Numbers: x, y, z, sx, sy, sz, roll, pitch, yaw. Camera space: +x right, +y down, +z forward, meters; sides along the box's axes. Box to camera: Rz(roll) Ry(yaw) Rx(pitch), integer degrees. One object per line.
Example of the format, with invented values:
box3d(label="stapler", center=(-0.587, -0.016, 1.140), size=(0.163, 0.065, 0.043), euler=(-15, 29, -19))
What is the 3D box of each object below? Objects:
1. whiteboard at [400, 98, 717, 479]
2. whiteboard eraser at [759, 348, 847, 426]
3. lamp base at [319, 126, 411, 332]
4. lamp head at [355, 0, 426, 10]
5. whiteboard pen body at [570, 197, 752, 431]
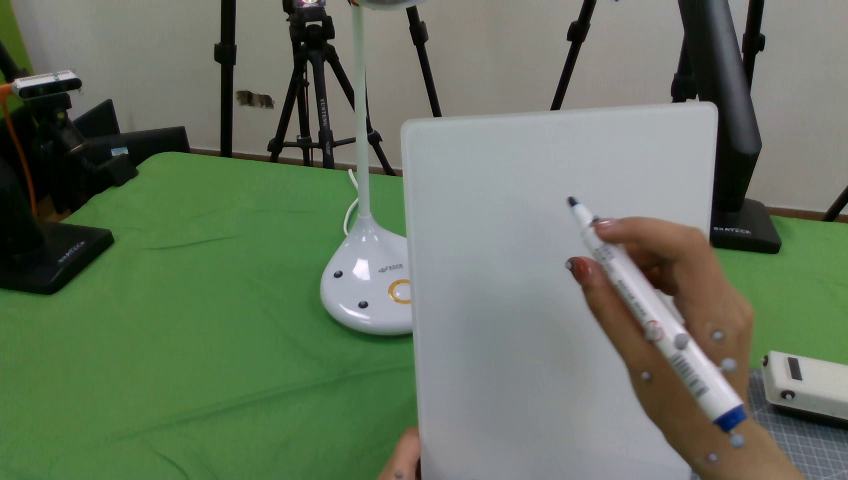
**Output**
box3d(label="whiteboard", center=(0.092, 0.044, 0.498), size=(0.217, 0.307, 0.143), euler=(-5, 15, -6))
box3d(label="whiteboard eraser", center=(0.366, 0.136, 0.543), size=(0.112, 0.042, 0.055), euler=(11, 37, 16))
box3d(label="lamp base", center=(-0.046, -0.021, 0.653), size=(0.161, 0.182, 0.177), euler=(-22, 37, -29))
box3d(label="lamp head", center=(-0.032, -0.251, 0.451), size=(0.113, 0.113, 0.121), euler=(-15, 62, -21))
box3d(label="whiteboard pen body", center=(0.111, 0.029, 0.301), size=(0.017, 0.017, 0.139), euler=(-15, 56, -21))
